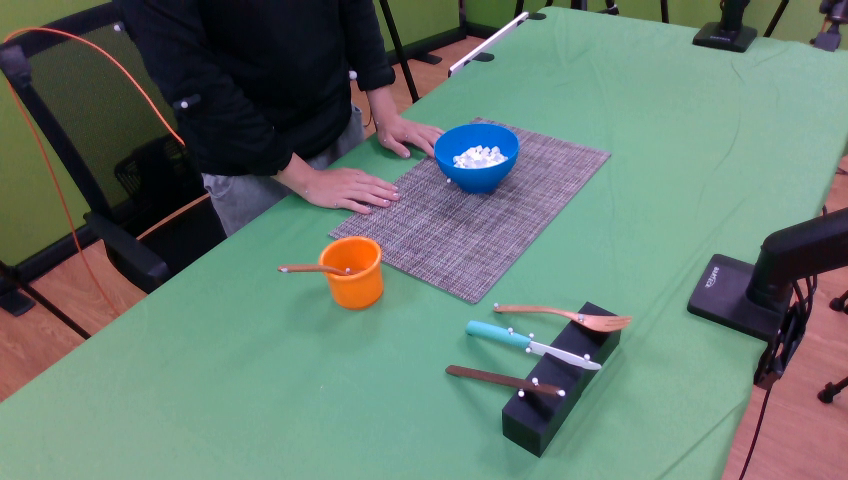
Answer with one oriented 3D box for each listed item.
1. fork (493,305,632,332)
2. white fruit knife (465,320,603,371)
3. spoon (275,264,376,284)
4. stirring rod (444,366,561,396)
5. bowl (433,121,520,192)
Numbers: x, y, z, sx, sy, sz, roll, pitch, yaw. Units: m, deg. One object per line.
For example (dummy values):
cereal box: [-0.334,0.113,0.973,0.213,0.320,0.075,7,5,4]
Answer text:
fork: [0.171,0.097,0.783,0.205,0.019,0.028,4,40,43]
white fruit knife: [0.128,0.129,0.749,0.205,0.027,0.016,11,45,44]
spoon: [-0.133,0.044,0.839,0.041,0.195,0.021,25,95,33]
stirring rod: [0.088,0.166,0.718,0.175,0.006,0.014,-1,25,48]
bowl: [0.094,-0.137,1.064,0.151,0.077,0.150,-4,41,4]
